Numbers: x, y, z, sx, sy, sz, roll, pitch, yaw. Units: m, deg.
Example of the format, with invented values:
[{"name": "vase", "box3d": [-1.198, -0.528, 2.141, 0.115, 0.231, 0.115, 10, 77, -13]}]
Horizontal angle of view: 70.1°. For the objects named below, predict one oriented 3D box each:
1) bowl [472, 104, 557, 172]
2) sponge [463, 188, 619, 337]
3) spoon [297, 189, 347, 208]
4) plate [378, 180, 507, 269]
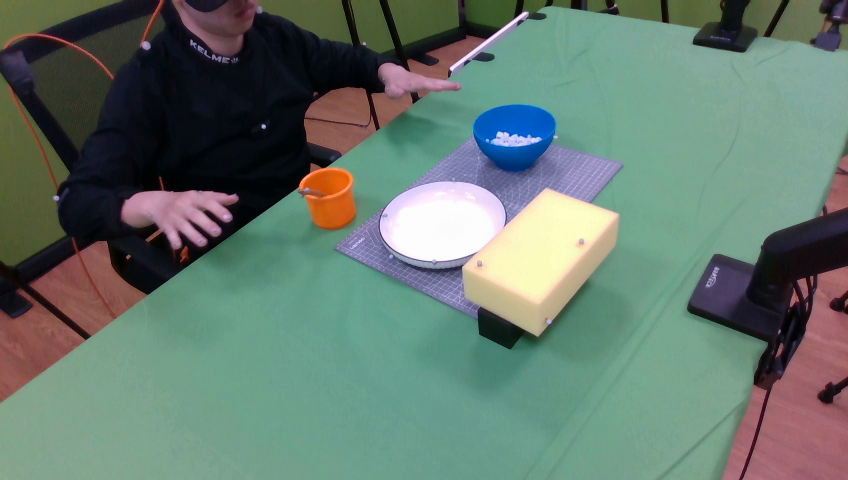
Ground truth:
[{"name": "bowl", "box3d": [0.165, -0.178, 1.105, 0.151, 0.077, 0.150, -4, 40, 4]}, {"name": "sponge", "box3d": [0.160, 0.022, 0.814, 0.117, 0.061, 0.207, 24, 50, 32]}, {"name": "spoon", "box3d": [-0.169, -0.069, 0.979, 0.041, 0.194, 0.021, 0, 85, 10]}, {"name": "plate", "box3d": [0.031, -0.022, 0.974, 0.209, 0.038, 0.208, -4, 40, 4]}]
